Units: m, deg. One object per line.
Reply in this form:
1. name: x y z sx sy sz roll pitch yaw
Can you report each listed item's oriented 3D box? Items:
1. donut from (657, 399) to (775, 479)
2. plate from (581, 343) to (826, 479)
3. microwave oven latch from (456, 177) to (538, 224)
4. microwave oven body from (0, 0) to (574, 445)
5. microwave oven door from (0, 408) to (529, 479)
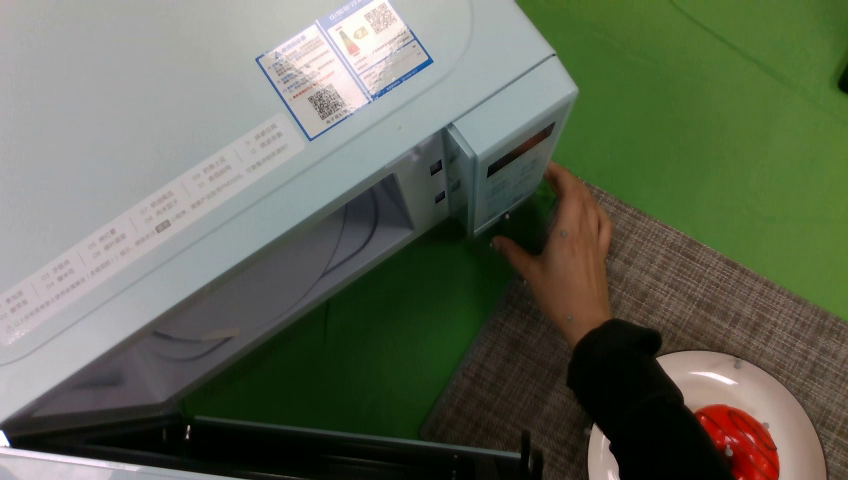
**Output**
1. donut: 0.257 0.190 0.535 0.099 0.048 0.098 0 81 2
2. plate: 0.245 0.198 0.545 0.209 0.038 0.208 0 79 3
3. microwave oven latch: 0.070 -0.046 0.588 0.079 0.029 0.030 -27 79 -2
4. microwave oven body: -0.165 -0.080 0.508 0.442 0.261 0.324 -35 80 -3
5. microwave oven door: -0.089 0.171 0.451 0.355 0.245 0.039 5 79 4
